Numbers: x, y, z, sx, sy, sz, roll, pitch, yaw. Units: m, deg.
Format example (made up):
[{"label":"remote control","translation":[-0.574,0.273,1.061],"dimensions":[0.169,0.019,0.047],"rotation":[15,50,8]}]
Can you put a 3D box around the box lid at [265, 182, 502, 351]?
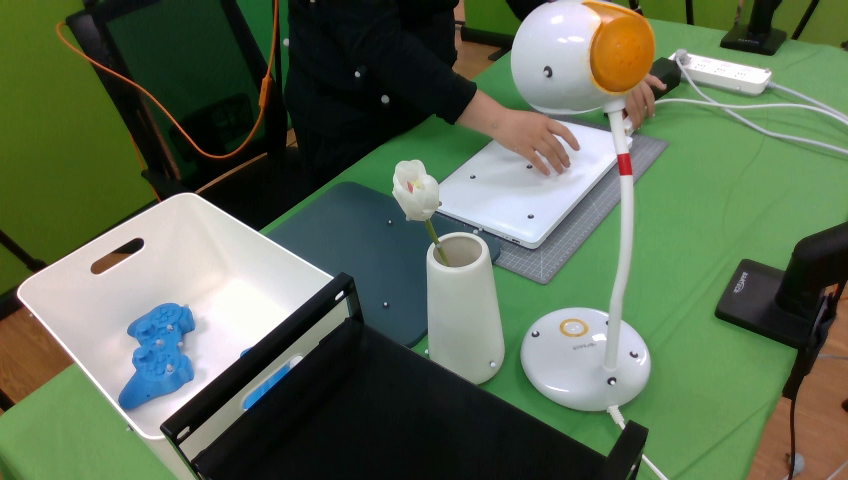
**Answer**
[{"label":"box lid","translation":[-0.087,0.023,0.970],"dimensions":[0.368,0.015,0.264],"rotation":[23,49,31]}]

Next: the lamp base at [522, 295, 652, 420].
[{"label":"lamp base","translation":[0.201,0.095,0.709],"dimensions":[0.161,0.181,0.178],"rotation":[-16,43,-10]}]

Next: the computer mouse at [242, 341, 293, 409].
[{"label":"computer mouse","translation":[-0.200,0.178,0.776],"dimensions":[0.063,0.041,0.116],"rotation":[-11,43,-8]}]

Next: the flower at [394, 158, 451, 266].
[{"label":"flower","translation":[0.028,0.035,0.664],"dimensions":[0.043,0.364,0.038],"rotation":[36,73,30]}]

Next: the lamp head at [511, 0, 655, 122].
[{"label":"lamp head","translation":[0.156,-0.168,0.563],"dimensions":[0.113,0.113,0.122],"rotation":[-18,23,-12]}]

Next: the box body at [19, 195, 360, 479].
[{"label":"box body","translation":[-0.288,0.118,0.772],"dimensions":[0.361,0.161,0.255],"rotation":[26,50,33]}]

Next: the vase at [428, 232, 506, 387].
[{"label":"vase","translation":[0.050,0.087,0.727],"dimensions":[0.098,0.201,0.097],"rotation":[-3,40,3]}]

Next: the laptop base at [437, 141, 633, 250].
[{"label":"laptop base","translation":[0.193,-0.117,1.087],"dimensions":[0.233,0.023,0.355],"rotation":[21,48,34]}]

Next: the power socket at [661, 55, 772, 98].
[{"label":"power socket","translation":[0.619,-0.352,1.289],"dimensions":[0.225,0.033,0.072],"rotation":[26,51,33]}]

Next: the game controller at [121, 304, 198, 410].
[{"label":"game controller","translation":[-0.364,0.150,0.828],"dimensions":[0.097,0.052,0.154],"rotation":[-14,41,-9]}]

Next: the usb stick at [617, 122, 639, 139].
[{"label":"usb stick","translation":[0.388,-0.207,1.156],"dimensions":[0.059,0.027,0.021],"rotation":[-25,32,-38]}]

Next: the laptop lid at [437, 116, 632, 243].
[{"label":"laptop lid","translation":[0.189,-0.126,1.081],"dimensions":[0.239,0.013,0.358],"rotation":[23,48,35]}]

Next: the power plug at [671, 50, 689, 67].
[{"label":"power plug","translation":[0.540,-0.379,1.301],"dimensions":[0.073,0.053,0.035],"rotation":[-30,46,-23]}]
